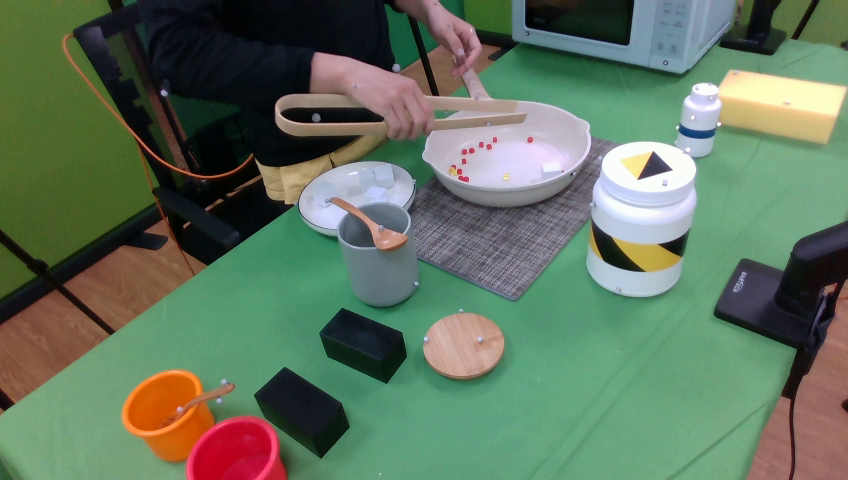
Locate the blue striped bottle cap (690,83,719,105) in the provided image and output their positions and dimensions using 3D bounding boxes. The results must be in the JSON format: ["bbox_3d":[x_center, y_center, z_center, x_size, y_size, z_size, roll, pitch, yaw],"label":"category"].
[{"bbox_3d":[0.481,-0.251,1.038,0.044,0.021,0.044,-5,40,5],"label":"blue striped bottle cap"}]

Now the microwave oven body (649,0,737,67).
[{"bbox_3d":[0.475,-0.602,1.411,0.438,0.261,0.327,23,50,32],"label":"microwave oven body"}]

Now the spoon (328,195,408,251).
[{"bbox_3d":[-0.083,-0.029,0.829,0.042,0.022,0.192,-31,42,-21],"label":"spoon"}]

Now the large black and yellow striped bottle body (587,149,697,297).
[{"bbox_3d":[0.298,-0.026,0.835,0.131,0.185,0.130,-4,41,4],"label":"large black and yellow striped bottle body"}]

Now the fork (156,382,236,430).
[{"bbox_3d":[-0.262,0.189,0.690,0.018,0.206,0.028,49,43,-7],"label":"fork"}]

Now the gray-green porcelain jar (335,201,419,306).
[{"bbox_3d":[-0.064,0.024,0.872,0.106,0.127,0.105,-4,41,4],"label":"gray-green porcelain jar"}]

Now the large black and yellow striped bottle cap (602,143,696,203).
[{"bbox_3d":[0.289,-0.088,0.779,0.115,0.019,0.114,-5,39,4],"label":"large black and yellow striped bottle cap"}]

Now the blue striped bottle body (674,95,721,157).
[{"bbox_3d":[0.486,-0.213,1.071,0.063,0.121,0.063,-4,41,4],"label":"blue striped bottle body"}]

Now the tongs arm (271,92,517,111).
[{"bbox_3d":[-0.034,-0.200,0.917,0.387,0.026,0.050,-1,60,-16],"label":"tongs arm"}]

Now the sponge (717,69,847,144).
[{"bbox_3d":[0.663,-0.256,1.142,0.205,0.061,0.118,19,47,28],"label":"sponge"}]

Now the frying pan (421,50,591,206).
[{"bbox_3d":[0.127,-0.233,1.155,0.307,0.103,0.484,-11,49,-5],"label":"frying pan"}]

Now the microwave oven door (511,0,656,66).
[{"bbox_3d":[0.350,-0.539,1.349,0.353,0.245,0.039,24,50,31],"label":"microwave oven door"}]

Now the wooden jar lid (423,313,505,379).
[{"bbox_3d":[0.053,0.142,0.800,0.108,0.021,0.108,-5,39,4],"label":"wooden jar lid"}]

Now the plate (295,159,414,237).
[{"bbox_3d":[-0.118,-0.070,1.055,0.207,0.039,0.206,-5,40,5],"label":"plate"}]

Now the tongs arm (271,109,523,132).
[{"bbox_3d":[-0.028,-0.180,0.906,0.390,0.028,0.028,-4,64,-18],"label":"tongs arm"}]

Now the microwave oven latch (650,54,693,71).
[{"bbox_3d":[0.531,-0.386,1.301,0.078,0.029,0.030,26,51,33],"label":"microwave oven latch"}]
